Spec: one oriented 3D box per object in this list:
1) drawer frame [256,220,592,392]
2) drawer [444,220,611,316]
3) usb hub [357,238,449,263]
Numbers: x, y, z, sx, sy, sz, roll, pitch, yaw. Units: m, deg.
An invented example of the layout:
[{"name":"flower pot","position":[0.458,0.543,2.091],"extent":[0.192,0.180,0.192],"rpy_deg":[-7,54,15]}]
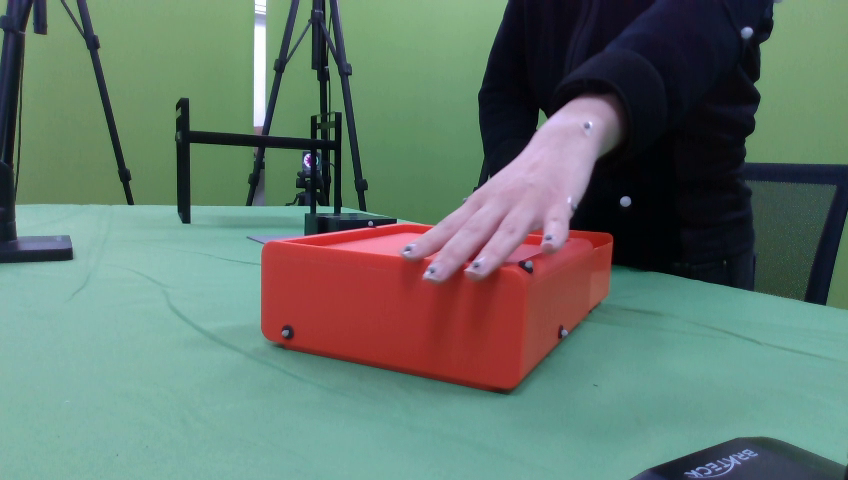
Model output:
[{"name":"drawer frame","position":[0.014,0.036,0.490],"extent":[0.201,0.082,0.214],"rpy_deg":[6,9,25]},{"name":"drawer","position":[0.060,0.029,0.583],"extent":[0.194,0.073,0.212],"rpy_deg":[7,9,27]},{"name":"usb hub","position":[-0.028,0.014,0.855],"extent":[0.126,0.025,0.049],"rpy_deg":[-2,9,-34]}]
